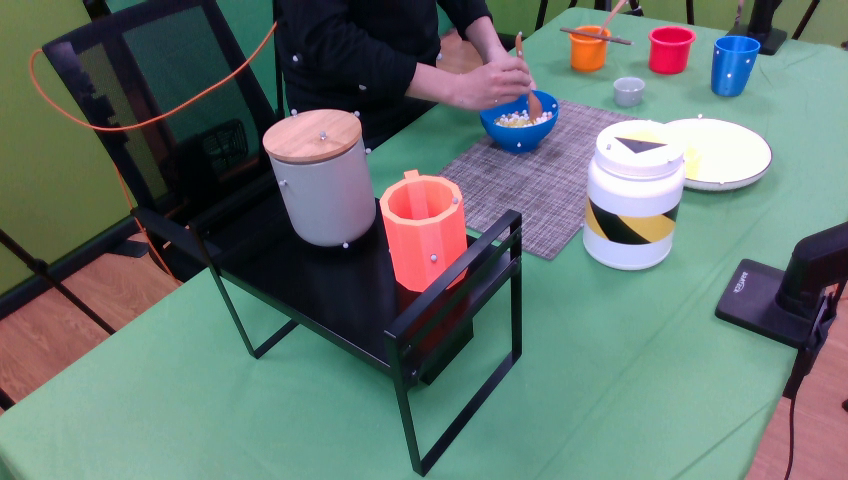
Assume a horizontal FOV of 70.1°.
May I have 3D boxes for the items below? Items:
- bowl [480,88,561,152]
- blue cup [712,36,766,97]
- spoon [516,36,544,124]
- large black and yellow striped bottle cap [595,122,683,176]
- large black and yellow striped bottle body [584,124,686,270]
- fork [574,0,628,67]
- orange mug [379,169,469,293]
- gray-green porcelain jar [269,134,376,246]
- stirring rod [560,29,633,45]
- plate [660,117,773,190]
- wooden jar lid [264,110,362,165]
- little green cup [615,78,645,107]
[{"bbox_3d":[0.185,-0.222,1.160,0.151,0.077,0.150,-4,40,4],"label":"bowl"},{"bbox_3d":[0.627,-0.350,1.227,0.092,0.100,0.092,-4,39,4],"label":"blue cup"},{"bbox_3d":[0.189,-0.284,1.095,0.021,0.195,0.041,25,65,41],"label":"spoon"},{"bbox_3d":[0.293,-0.126,0.826,0.115,0.019,0.114,-3,40,3],"label":"large black and yellow striped bottle cap"},{"bbox_3d":[0.304,-0.063,0.880,0.131,0.185,0.130,-5,41,5],"label":"large black and yellow striped bottle body"},{"bbox_3d":[0.413,-0.481,1.377,0.207,0.019,0.028,-56,42,12],"label":"fork"},{"bbox_3d":[-0.002,-0.019,0.666,0.083,0.101,0.125,-12,44,-4],"label":"orange mug"},{"bbox_3d":[-0.115,-0.064,0.715,0.106,0.127,0.105,-4,40,4],"label":"gray-green porcelain jar"},{"bbox_3d":[0.381,-0.452,1.345,0.174,0.006,0.014,25,49,33],"label":"stirring rod"},{"bbox_3d":[0.495,-0.148,1.063,0.209,0.038,0.208,-5,40,4],"label":"plate"},{"bbox_3d":[-0.122,-0.112,0.673,0.108,0.021,0.108,-4,37,4],"label":"wooden jar lid"},{"bbox_3d":[0.426,-0.306,1.257,0.061,0.039,0.061,-4,40,4],"label":"little green cup"}]
